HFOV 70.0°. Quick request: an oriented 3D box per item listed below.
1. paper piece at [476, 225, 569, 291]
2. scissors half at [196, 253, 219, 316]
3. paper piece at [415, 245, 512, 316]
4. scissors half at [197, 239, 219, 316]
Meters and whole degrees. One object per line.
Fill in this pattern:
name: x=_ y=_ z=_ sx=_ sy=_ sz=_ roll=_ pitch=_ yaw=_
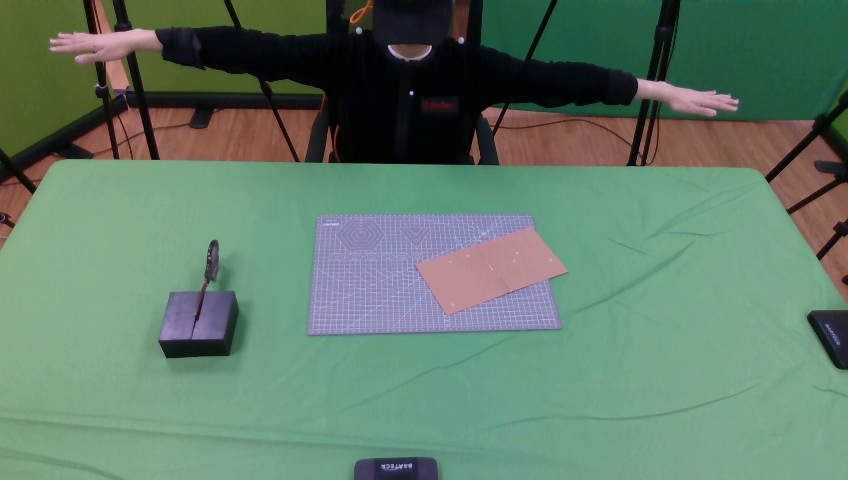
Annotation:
paper piece: x=0.192 y=0.033 z=1.185 sx=0.136 sy=0.004 sz=0.134 roll=-17 pitch=51 yaw=-19
scissors half: x=-0.379 y=0.078 z=1.062 sx=0.013 sy=0.040 sz=0.174 roll=3 pitch=29 yaw=-8
paper piece: x=0.072 y=0.071 z=1.140 sx=0.138 sy=0.009 sz=0.135 roll=-18 pitch=46 yaw=-18
scissors half: x=-0.375 y=0.063 z=1.049 sx=0.013 sy=0.040 sz=0.174 roll=7 pitch=46 yaw=-12
